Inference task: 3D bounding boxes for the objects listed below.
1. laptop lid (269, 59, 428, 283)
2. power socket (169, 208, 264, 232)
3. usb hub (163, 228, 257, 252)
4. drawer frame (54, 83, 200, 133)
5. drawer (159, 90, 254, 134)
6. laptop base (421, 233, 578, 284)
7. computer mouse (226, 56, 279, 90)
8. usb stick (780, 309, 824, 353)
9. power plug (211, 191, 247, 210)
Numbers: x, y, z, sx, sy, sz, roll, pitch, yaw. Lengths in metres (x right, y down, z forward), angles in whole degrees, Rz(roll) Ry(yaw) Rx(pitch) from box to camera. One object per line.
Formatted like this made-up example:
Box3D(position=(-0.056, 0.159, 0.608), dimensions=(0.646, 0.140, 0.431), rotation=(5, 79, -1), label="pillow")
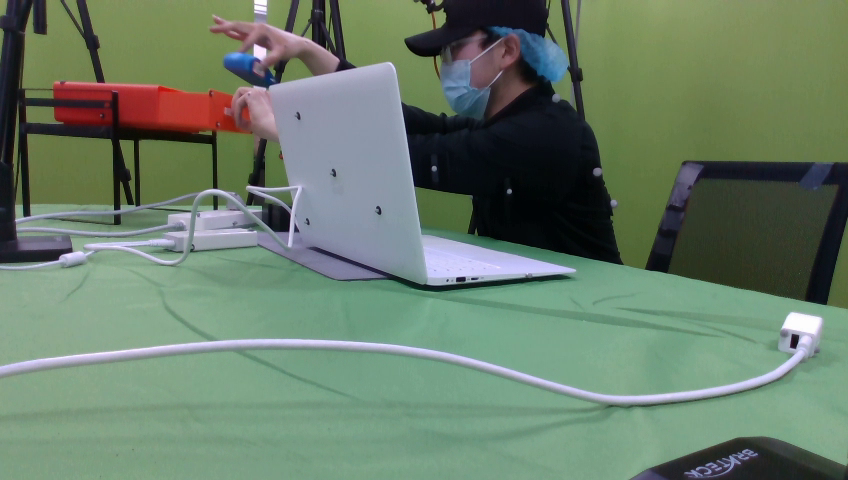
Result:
Box3D(position=(-0.110, -0.087, 0.752), dimensions=(0.013, 0.241, 0.355), rotation=(-18, 19, -30), label="laptop lid")
Box3D(position=(-0.380, -0.038, 1.128), dimensions=(0.072, 0.032, 0.227), rotation=(4, 8, 17), label="power socket")
Box3D(position=(-0.314, -0.001, 0.894), dimensions=(0.049, 0.025, 0.126), rotation=(10, 11, 41), label="usb hub")
Box3D(position=(-0.577, -0.263, 1.218), dimensions=(0.213, 0.082, 0.202), rotation=(3, 8, 5), label="drawer frame")
Box3D(position=(-0.476, -0.255, 1.208), dimensions=(0.211, 0.073, 0.194), rotation=(3, 8, 8), label="drawer")
Box3D(position=(0.007, 0.021, 0.850), dimensions=(0.237, 0.023, 0.352), rotation=(1, 7, -34), label="laptop base")
Box3D(position=(-0.343, -0.337, 1.218), dimensions=(0.062, 0.041, 0.117), rotation=(9, -7, 19), label="computer mouse")
Box3D(position=(0.311, 0.072, 0.496), dimensions=(0.027, 0.021, 0.059), rotation=(7, 15, 34), label="usb stick")
Box3D(position=(-0.386, -0.071, 1.205), dimensions=(0.072, 0.052, 0.035), rotation=(8, 11, 27), label="power plug")
